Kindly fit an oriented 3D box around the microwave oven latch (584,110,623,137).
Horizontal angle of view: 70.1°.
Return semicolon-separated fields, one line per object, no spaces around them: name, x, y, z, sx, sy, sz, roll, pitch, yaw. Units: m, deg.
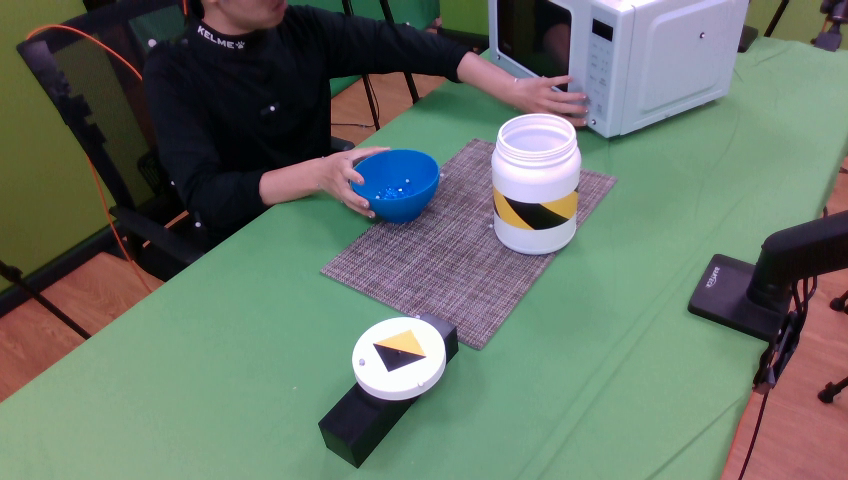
microwave oven latch;0.337;-0.222;1.142;0.030;0.029;0.078;-21;42;-14

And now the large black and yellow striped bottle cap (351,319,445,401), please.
large black and yellow striped bottle cap;-0.031;0.143;0.735;0.115;0.019;0.114;-3;40;3

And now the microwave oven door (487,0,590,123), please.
microwave oven door;0.232;-0.420;1.231;0.039;0.245;0.352;-22;43;-16

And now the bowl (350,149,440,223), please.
bowl;-0.045;-0.082;1.024;0.151;0.077;0.150;-4;40;4

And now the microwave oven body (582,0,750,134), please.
microwave oven body;0.382;-0.444;1.246;0.327;0.261;0.437;-22;42;-16

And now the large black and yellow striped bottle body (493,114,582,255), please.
large black and yellow striped bottle body;0.170;-0.084;0.912;0.131;0.185;0.130;-4;41;4
